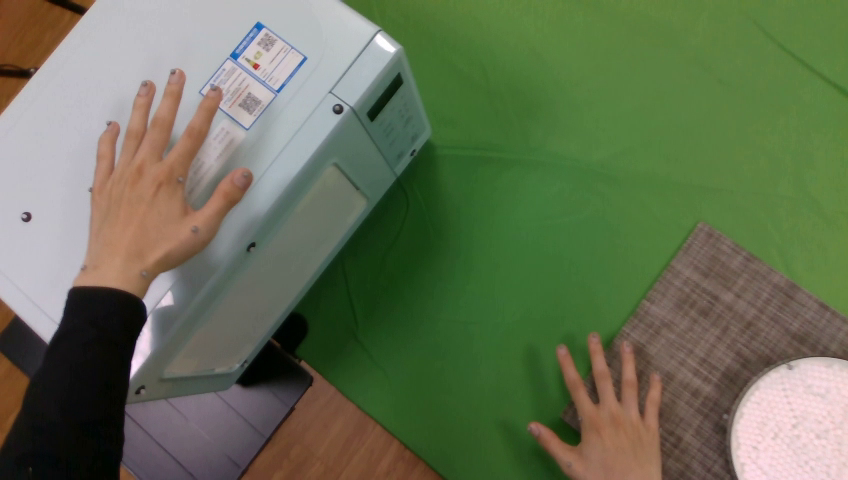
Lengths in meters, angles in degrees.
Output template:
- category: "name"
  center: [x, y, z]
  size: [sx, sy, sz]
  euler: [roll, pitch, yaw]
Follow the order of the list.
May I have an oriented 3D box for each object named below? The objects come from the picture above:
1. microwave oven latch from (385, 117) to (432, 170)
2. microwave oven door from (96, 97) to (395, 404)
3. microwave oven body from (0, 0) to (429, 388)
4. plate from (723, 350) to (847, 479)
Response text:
- category: "microwave oven latch"
  center: [-0.023, -0.130, 0.788]
  size: [0.030, 0.029, 0.079]
  euler: [40, 88, 11]
- category: "microwave oven door"
  center: [-0.174, 0.024, 0.680]
  size: [0.039, 0.245, 0.355]
  euler: [37, 87, 12]
- category: "microwave oven body"
  center: [-0.260, -0.094, 0.715]
  size: [0.324, 0.261, 0.441]
  euler: [37, 88, 11]
- category: "plate"
  center: [0.446, 0.228, 0.685]
  size: [0.209, 0.038, 0.208]
  euler: [-1, 81, 8]
